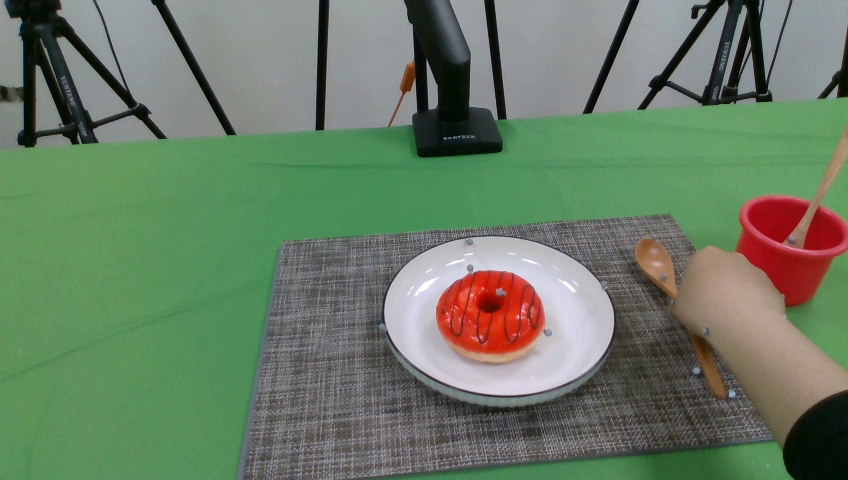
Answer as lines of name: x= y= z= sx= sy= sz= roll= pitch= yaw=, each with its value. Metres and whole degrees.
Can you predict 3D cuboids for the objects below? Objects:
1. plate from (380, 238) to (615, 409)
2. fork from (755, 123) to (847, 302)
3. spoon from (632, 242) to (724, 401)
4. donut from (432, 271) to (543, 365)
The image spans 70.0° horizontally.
plate: x=0.065 y=0.074 z=0.554 sx=0.209 sy=0.038 sz=0.207 roll=-1 pitch=37 yaw=1
fork: x=0.382 y=-0.031 z=0.598 sx=0.028 sy=0.019 sz=0.207 roll=27 pitch=89 yaw=32
spoon: x=0.238 y=0.068 z=0.569 sx=0.042 sy=0.022 sz=0.192 roll=12 pitch=35 yaw=-12
donut: x=0.056 y=0.069 z=0.543 sx=0.099 sy=0.049 sz=0.098 roll=-1 pitch=40 yaw=2
